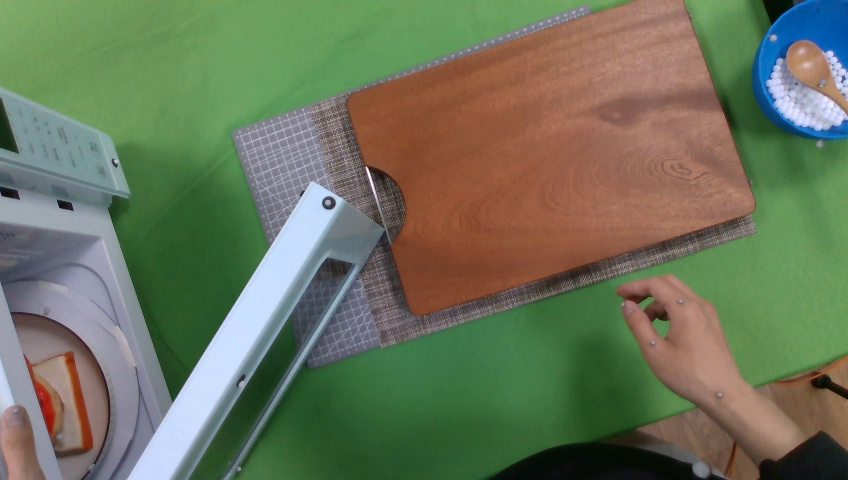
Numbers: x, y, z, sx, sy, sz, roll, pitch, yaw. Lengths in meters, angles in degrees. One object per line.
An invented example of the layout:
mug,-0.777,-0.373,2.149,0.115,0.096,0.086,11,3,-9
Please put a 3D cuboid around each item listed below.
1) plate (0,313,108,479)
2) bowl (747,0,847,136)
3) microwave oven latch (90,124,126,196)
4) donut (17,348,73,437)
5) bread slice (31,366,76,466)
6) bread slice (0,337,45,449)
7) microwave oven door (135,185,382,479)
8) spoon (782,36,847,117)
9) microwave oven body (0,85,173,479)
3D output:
plate,-0.435,0.180,0.640,0.208,0.039,0.207,0,86,-1
bowl,0.418,-0.180,0.660,0.151,0.077,0.151,0,87,3
microwave oven latch,-0.375,-0.092,0.700,0.030,0.029,0.079,-21,87,1
donut,-0.412,0.160,0.619,0.099,0.048,0.098,0,82,2
bread slice,-0.440,0.184,0.642,0.131,0.019,0.104,3,87,2
bread slice,-0.430,0.164,0.580,0.134,0.018,0.107,-22,87,13
microwave oven door,-0.159,0.119,0.576,0.039,0.244,0.355,31,89,5
spoon,0.434,-0.137,0.627,0.041,0.022,0.192,-20,63,1
microwave oven body,-0.457,0.119,0.596,0.326,0.260,0.441,-21,86,1
